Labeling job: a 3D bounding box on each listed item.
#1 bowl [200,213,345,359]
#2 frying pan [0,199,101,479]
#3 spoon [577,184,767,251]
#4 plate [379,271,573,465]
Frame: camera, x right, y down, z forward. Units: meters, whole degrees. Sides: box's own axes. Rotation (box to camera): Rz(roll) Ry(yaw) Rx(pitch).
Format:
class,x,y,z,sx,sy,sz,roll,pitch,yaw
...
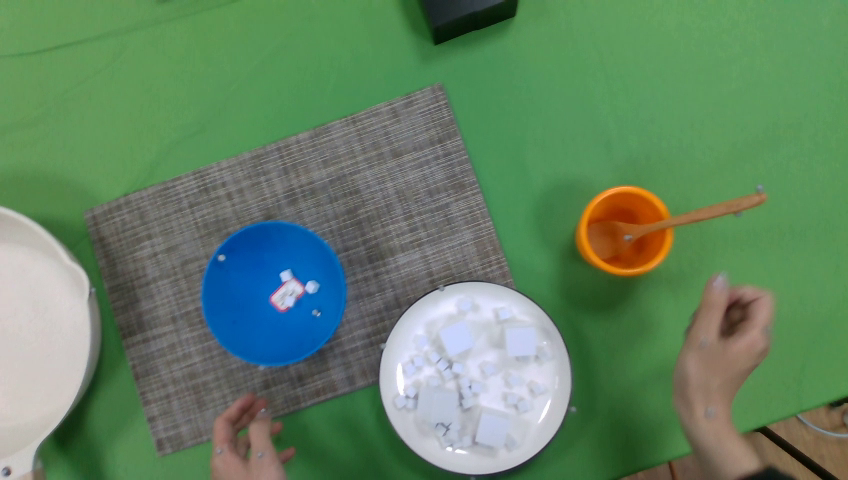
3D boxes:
class,x,y,z,sx,sy,sz,roll,pitch,yaw
bowl,-0.153,0.049,0.658,0.151,0.077,0.151,0,87,3
frying pan,-0.459,0.190,0.658,0.307,0.103,0.485,-24,78,2
spoon,0.240,-0.023,0.609,0.022,0.193,0.041,-11,86,-42
plate,0.056,0.137,0.663,0.207,0.039,0.207,0,89,3
